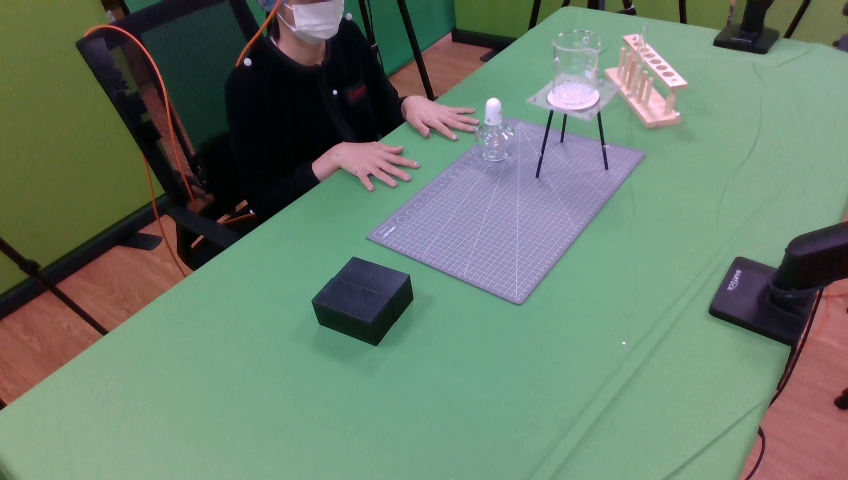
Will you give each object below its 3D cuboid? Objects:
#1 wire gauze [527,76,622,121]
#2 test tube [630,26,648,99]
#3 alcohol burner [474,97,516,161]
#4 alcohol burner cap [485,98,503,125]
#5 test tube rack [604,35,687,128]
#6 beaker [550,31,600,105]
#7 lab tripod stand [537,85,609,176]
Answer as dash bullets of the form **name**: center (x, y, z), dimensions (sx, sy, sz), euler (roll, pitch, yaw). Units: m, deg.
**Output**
- **wire gauze**: center (0.255, -0.247, 1.031), dimensions (0.124, 0.011, 0.122), euler (23, 49, 34)
- **test tube**: center (0.426, -0.350, 1.199), dimensions (0.017, 0.151, 0.017), euler (-4, 42, 4)
- **alcohol burner**: center (0.131, -0.208, 1.121), dimensions (0.078, 0.119, 0.077), euler (-6, 40, 5)
- **alcohol burner cap**: center (0.126, -0.234, 1.097), dimensions (0.034, 0.048, 0.033), euler (-3, 39, 3)
- **test tube rack**: center (0.447, -0.330, 1.242), dimensions (0.067, 0.085, 0.241), euler (-9, 41, -2)
- **beaker**: center (0.250, -0.281, 0.996), dimensions (0.074, 0.101, 0.083), euler (-37, 49, -27)
- **lab tripod stand**: center (0.259, -0.192, 1.068), dimensions (0.148, 0.132, 0.147), euler (-4, 43, 4)
